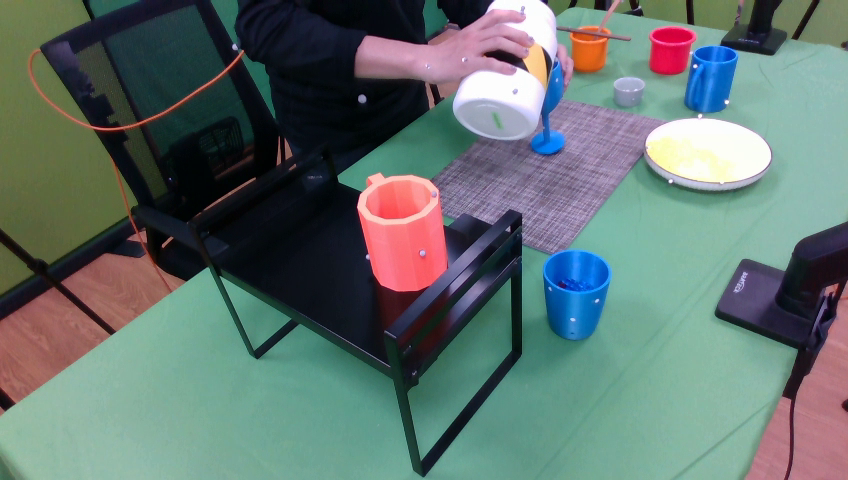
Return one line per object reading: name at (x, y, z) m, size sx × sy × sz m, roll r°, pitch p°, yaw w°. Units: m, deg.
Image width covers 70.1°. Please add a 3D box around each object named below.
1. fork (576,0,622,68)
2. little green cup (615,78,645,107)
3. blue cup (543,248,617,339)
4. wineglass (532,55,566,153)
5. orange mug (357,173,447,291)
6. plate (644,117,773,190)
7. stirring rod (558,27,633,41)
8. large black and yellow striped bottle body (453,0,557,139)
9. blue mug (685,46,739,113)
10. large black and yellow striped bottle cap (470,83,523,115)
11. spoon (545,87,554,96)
fork at (0.409, -0.484, 1.381) m, size 0.028 × 0.019 × 0.207 m, roll 37°, pitch 101°, yaw 46°
little green cup at (0.426, -0.306, 1.257) m, size 0.061 × 0.039 × 0.061 m, roll -4°, pitch 40°, yaw 4°
blue cup at (0.199, 0.076, 0.797) m, size 0.092 × 0.100 × 0.092 m, roll -4°, pitch 39°, yaw 4°
wineglass at (0.222, -0.245, 1.096) m, size 0.073 × 0.173 × 0.073 m, roll -8°, pitch 47°, yaw 9°
orange mug at (-0.029, -0.018, 0.669) m, size 0.084 × 0.101 × 0.125 m, roll -23°, pitch 46°, yaw -16°
plate at (0.495, -0.148, 1.063) m, size 0.209 × 0.038 × 0.208 m, roll -5°, pitch 40°, yaw 4°
stirring rod at (0.381, -0.463, 1.356) m, size 0.175 × 0.006 × 0.014 m, roll 21°, pitch 47°, yaw 30°
large black and yellow striped bottle body at (0.129, -0.262, 0.925) m, size 0.130 × 0.131 × 0.183 m, roll 11°, pitch 74°, yaw 20°
blue mug at (0.556, -0.310, 1.190) m, size 0.117 × 0.106 × 0.081 m, roll -32°, pitch 46°, yaw -25°
large black and yellow striped bottle cap at (0.156, -0.308, 1.316) m, size 0.115 × 0.019 × 0.114 m, roll -7°, pitch 39°, yaw 6°
spoon at (0.227, -0.285, 1.269) m, size 0.041 × 0.022 × 0.194 m, roll 3°, pitch 37°, yaw 44°
